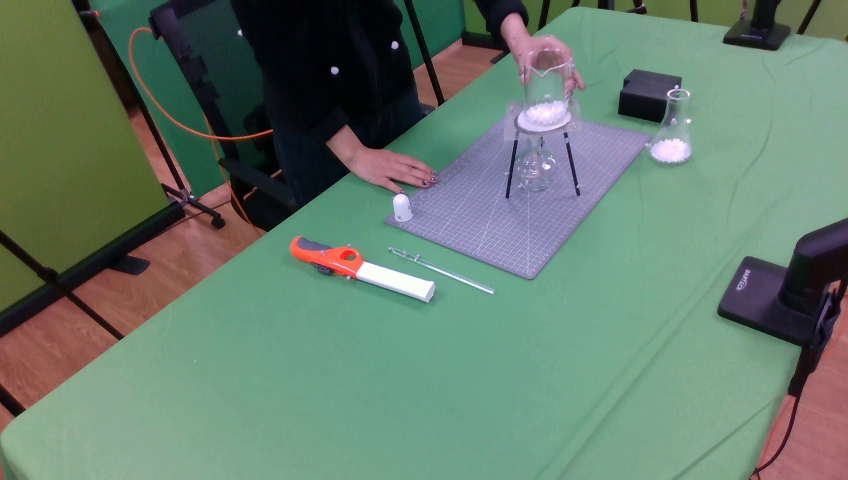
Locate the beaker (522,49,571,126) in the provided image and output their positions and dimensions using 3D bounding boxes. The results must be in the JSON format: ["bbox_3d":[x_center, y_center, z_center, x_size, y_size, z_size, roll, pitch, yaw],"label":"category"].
[{"bbox_3d":[0.193,-0.237,0.955,0.073,0.101,0.084,6,42,19],"label":"beaker"}]

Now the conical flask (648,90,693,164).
[{"bbox_3d":[0.437,-0.199,1.057,0.075,0.122,0.075,-5,40,5],"label":"conical flask"}]

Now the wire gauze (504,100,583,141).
[{"bbox_3d":[0.194,-0.200,0.987,0.121,0.011,0.124,-1,39,11],"label":"wire gauze"}]

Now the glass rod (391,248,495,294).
[{"bbox_3d":[0.026,0.045,0.937,0.198,0.008,0.008,21,49,32],"label":"glass rod"}]

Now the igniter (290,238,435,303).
[{"bbox_3d":[-0.106,0.044,0.949,0.274,0.025,0.057,16,57,28],"label":"igniter"}]

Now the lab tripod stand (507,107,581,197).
[{"bbox_3d":[0.201,-0.151,1.033,0.148,0.132,0.147,-7,39,6],"label":"lab tripod stand"}]

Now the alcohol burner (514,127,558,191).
[{"bbox_3d":[0.192,-0.145,1.043,0.078,0.119,0.077,-5,42,5],"label":"alcohol burner"}]

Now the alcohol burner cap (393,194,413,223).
[{"bbox_3d":[-0.038,-0.056,1.038,0.034,0.048,0.033,-5,40,5],"label":"alcohol burner cap"}]
